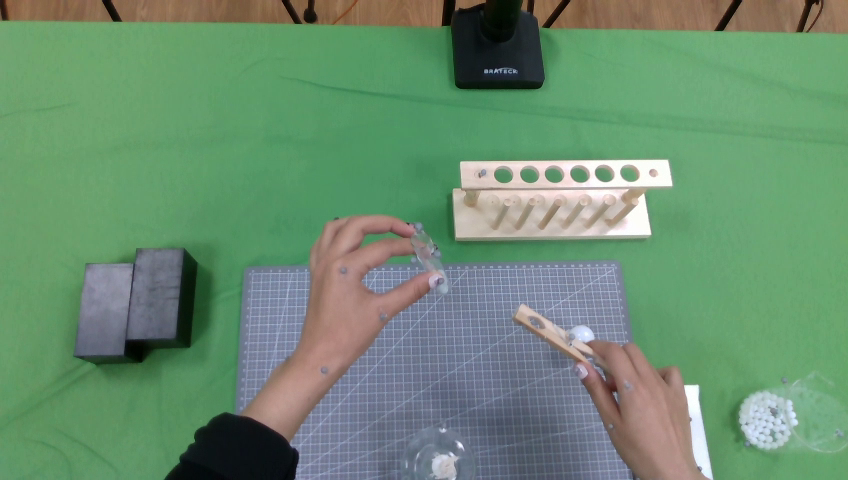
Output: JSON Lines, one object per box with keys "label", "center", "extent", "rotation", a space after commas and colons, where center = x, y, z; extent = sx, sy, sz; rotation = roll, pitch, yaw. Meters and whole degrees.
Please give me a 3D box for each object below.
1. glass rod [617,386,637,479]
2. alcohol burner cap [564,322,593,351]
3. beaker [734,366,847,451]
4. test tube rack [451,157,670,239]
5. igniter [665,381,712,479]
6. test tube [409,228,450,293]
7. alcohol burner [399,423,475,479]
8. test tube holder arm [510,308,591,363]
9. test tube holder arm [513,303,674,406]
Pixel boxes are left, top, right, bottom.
{"label": "glass rod", "center": [0.226, 0.259, 0.655], "extent": [0.008, 0.008, 0.198], "rotation": [-1, 71, -5]}
{"label": "alcohol burner cap", "center": [0.175, 0.109, 0.686], "extent": [0.034, 0.048, 0.033], "rotation": [1, 70, -4]}
{"label": "beaker", "center": [0.390, 0.183, 0.649], "extent": [0.074, 0.101, 0.083], "rotation": [12, 69, 0]}
{"label": "test tube rack", "center": [0.159, -0.049, 0.720], "extent": [0.243, 0.085, 0.066], "rotation": [-1, 70, -5]}
{"label": "igniter", "center": [0.295, 0.290, 0.643], "extent": [0.057, 0.025, 0.274], "rotation": [3, 70, -14]}
{"label": "test tube", "center": [0.007, 0.022, 0.515], "extent": [0.017, 0.151, 0.017], "rotation": [-3, 71, 8]}
{"label": "alcohol burner", "center": [0.014, 0.219, 0.597], "extent": [0.078, 0.120, 0.077], "rotation": [1, 68, -3]}
{"label": "test tube holder arm", "center": [0.122, 0.092, 0.581], "extent": [0.088, 0.015, 0.010], "rotation": [32, 76, -2]}
{"label": "test tube holder arm", "center": [0.164, 0.111, 0.585], "extent": [0.178, 0.015, 0.013], "rotation": [30, 76, -2]}
